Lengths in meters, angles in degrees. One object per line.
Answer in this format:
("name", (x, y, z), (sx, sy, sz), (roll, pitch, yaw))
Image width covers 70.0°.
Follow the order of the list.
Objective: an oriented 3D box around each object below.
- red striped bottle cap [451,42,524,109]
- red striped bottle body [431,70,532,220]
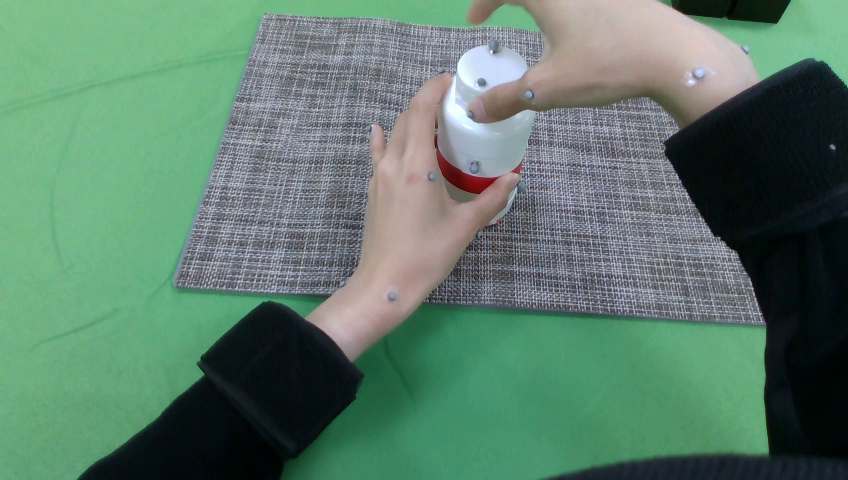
("red striped bottle cap", (0.039, -0.101, 0.369), (0.044, 0.018, 0.044), (0, 55, 0))
("red striped bottle body", (0.037, -0.072, 0.414), (0.063, 0.120, 0.062), (1, 56, -1))
